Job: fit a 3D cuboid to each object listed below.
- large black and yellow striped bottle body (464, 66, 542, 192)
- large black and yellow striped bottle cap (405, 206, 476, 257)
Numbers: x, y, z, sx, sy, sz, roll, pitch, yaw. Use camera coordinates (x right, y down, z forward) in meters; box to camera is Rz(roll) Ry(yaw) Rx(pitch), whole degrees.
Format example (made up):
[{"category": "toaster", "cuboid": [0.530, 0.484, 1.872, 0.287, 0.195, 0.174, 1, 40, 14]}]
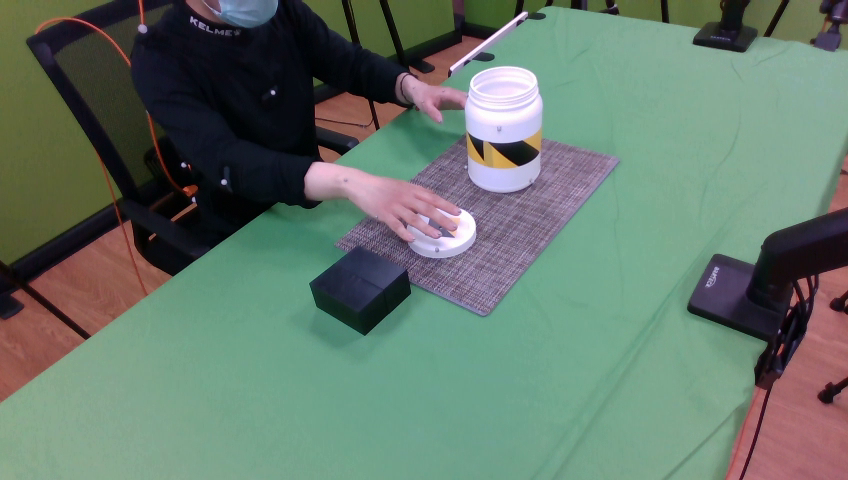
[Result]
[{"category": "large black and yellow striped bottle body", "cuboid": [0.137, -0.190, 1.040, 0.131, 0.185, 0.130, -4, 41, 4]}, {"category": "large black and yellow striped bottle cap", "cuboid": [0.027, -0.015, 0.981, 0.115, 0.019, 0.114, -2, 40, 2]}]
